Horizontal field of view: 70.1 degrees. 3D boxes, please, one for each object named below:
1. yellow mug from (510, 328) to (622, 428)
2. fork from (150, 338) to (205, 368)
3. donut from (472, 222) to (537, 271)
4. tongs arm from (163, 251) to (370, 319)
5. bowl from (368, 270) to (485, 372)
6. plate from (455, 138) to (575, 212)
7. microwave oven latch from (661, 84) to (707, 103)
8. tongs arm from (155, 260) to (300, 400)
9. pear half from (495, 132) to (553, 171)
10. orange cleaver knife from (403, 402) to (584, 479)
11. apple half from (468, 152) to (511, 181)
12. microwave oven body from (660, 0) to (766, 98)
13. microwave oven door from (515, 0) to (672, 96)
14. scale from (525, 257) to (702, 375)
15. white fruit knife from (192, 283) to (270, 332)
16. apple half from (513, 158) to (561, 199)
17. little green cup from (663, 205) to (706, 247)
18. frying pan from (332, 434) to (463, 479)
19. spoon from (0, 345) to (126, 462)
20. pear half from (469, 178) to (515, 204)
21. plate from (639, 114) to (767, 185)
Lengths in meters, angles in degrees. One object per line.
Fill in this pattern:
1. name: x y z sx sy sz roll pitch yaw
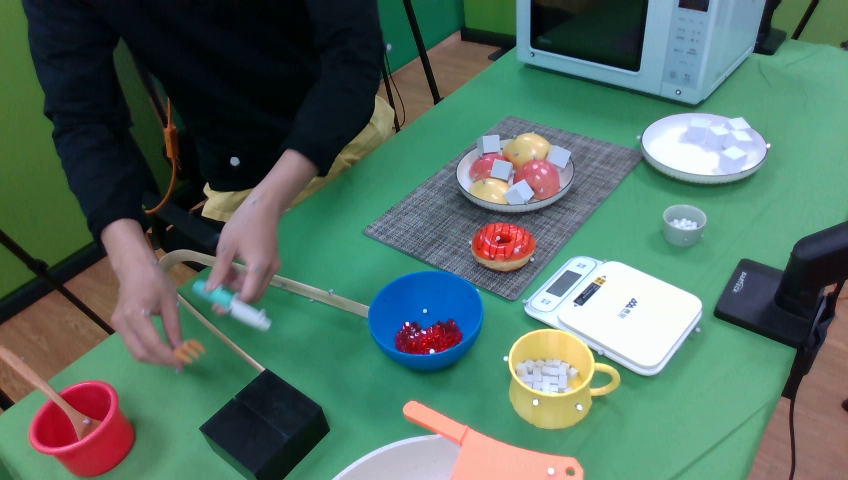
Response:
1. yellow mug: 0.168 0.164 0.722 0.130 0.064 0.099 0 40 8
2. fork: -0.303 0.132 0.727 0.206 0.019 0.028 -8 42 55
3. donut: 0.123 0.009 0.923 0.099 0.048 0.098 -4 37 3
4. tongs arm: -0.247 0.072 0.917 0.382 0.026 0.051 16 47 26
5. bowl: 0.007 0.118 0.791 0.151 0.077 0.150 -5 40 4
6. plate: 0.159 -0.111 1.063 0.209 0.038 0.208 -4 40 4
7. microwave oven latch: 0.517 -0.296 1.204 0.078 0.029 0.030 27 52 34
8. tongs arm: -0.295 0.120 0.867 0.384 0.028 0.028 28 57 36
9. pear half: 0.174 -0.167 1.094 0.109 0.056 0.076 15 53 30
10. orange cleaver knife: 0.062 0.222 0.609 0.210 0.012 0.077 15 48 25
11. apple half: 0.119 -0.138 1.087 0.081 0.033 0.081 0 45 1
12. microwave oven body: 0.472 -0.513 1.317 0.438 0.261 0.327 26 51 34
13. microwave oven door: 0.343 -0.454 1.259 0.353 0.245 0.039 26 51 33
14. scale: 0.254 0.091 0.821 0.199 0.032 0.149 28 51 35
15. white fruit knife: -0.230 0.079 0.716 0.016 0.027 0.205 -21 22 -38
16. apple half: 0.193 -0.111 1.031 0.080 0.053 0.075 11 41 26
17. little green cup: 0.396 -0.020 0.926 0.061 0.039 0.061 -4 40 4
18. frying pan: -0.089 0.306 0.564 0.487 0.103 0.306 10 41 7
19. spoon: -0.434 0.192 0.720 0.194 0.021 0.042 47 53 -7
20. pear half: 0.115 -0.090 1.036 0.087 0.031 0.071 28 38 32
21. plate: 0.489 -0.157 1.074 0.207 0.039 0.206 -4 40 4
